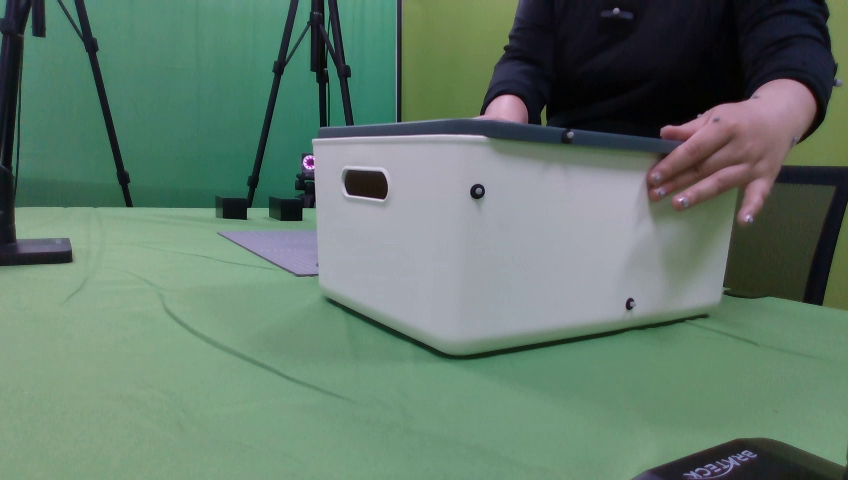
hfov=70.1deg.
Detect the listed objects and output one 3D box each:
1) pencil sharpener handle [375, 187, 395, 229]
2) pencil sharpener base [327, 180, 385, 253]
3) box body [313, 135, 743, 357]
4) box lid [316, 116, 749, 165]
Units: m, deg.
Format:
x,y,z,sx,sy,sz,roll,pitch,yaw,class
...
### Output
x,y,z,sx,sy,sz,roll,pitch,yaw,class
-0.059,-0.050,0.958,0.031,0.067,0.036,-1,14,-29,pencil sharpener handle
-0.103,-0.037,0.933,0.077,0.107,0.061,-1,8,-30,pencil sharpener base
0.099,-0.011,0.597,0.366,0.160,0.253,-2,8,-34,box body
0.106,-0.088,0.593,0.374,0.015,0.262,-1,6,-35,box lid
